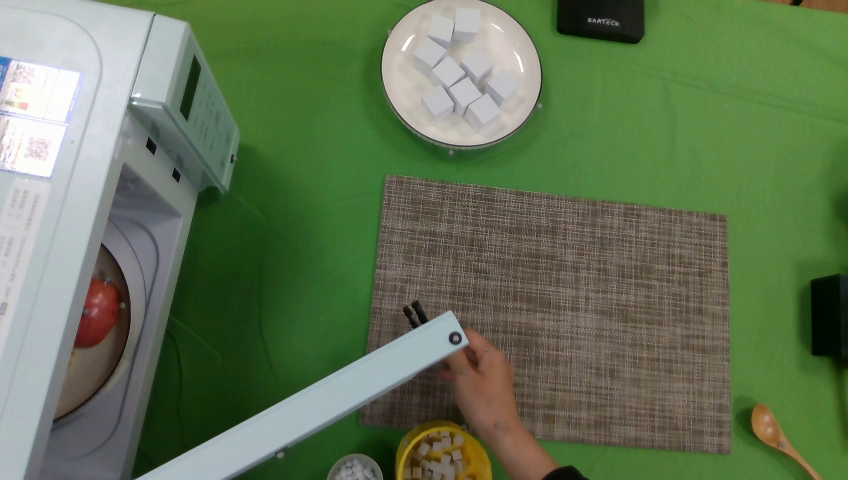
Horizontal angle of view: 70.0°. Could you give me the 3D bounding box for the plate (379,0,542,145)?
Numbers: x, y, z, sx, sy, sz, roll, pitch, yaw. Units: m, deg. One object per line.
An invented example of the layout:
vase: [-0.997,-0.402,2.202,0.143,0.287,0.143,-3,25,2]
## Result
plate: [0.046,-0.217,0.781,0.208,0.039,0.206,1,78,-6]

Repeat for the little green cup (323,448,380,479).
little green cup: [-0.079,0.259,0.665,0.061,0.039,0.061,1,77,-5]

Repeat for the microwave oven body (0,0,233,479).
microwave oven body: [-0.401,0.017,0.562,0.326,0.260,0.440,10,78,-5]

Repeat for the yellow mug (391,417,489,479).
yellow mug: [0.011,0.263,0.659,0.100,0.064,0.130,17,79,-3]

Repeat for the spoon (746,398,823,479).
spoon: [0.455,0.271,0.732,0.041,0.022,0.193,-39,84,-31]

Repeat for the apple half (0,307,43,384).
apple half: [-0.417,0.100,0.576,0.081,0.053,0.074,21,88,-15]

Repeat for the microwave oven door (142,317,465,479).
microwave oven door: [-0.139,0.170,0.555,0.356,0.244,0.039,-27,81,-11]

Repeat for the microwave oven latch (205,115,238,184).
microwave oven latch: [-0.238,-0.108,0.706,0.030,0.029,0.079,10,78,-5]

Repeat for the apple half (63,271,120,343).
apple half: [-0.351,0.065,0.606,0.081,0.033,0.081,1,78,-3]

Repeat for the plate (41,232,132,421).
plate: [-0.397,0.079,0.604,0.209,0.038,0.208,1,78,-6]
